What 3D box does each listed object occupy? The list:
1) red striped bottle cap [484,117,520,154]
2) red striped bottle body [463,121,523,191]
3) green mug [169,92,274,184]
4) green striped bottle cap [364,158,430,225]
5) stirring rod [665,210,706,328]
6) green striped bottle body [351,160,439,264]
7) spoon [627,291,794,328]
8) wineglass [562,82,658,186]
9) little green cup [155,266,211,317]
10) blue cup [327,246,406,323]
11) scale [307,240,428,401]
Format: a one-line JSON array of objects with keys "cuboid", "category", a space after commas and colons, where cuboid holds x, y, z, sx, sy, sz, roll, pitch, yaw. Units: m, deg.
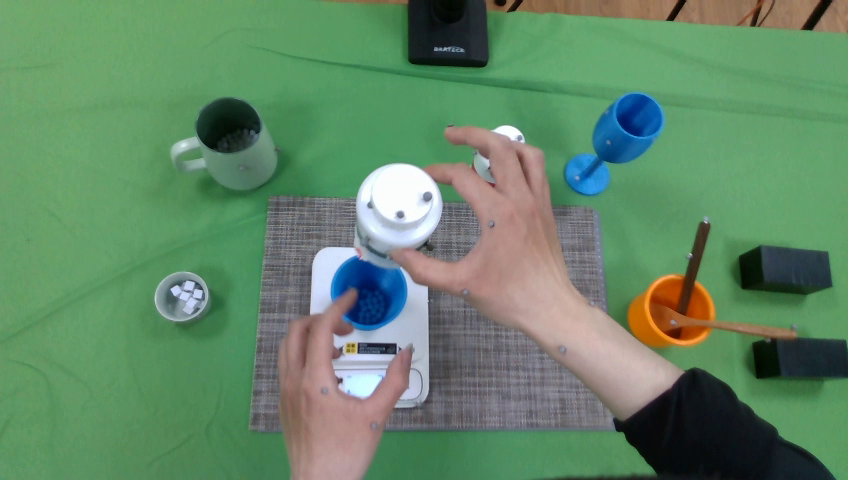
[{"cuboid": [0.097, -0.130, 0.749, 0.044, 0.018, 0.044, 2, 70, -5], "category": "red striped bottle cap"}, {"cuboid": [0.091, -0.114, 0.800, 0.063, 0.120, 0.062, 2, 73, -6], "category": "red striped bottle body"}, {"cuboid": [-0.259, -0.123, 0.771, 0.125, 0.105, 0.092, -20, 77, -11], "category": "green mug"}, {"cuboid": [-0.019, -0.034, 0.416, 0.044, 0.020, 0.044, 2, 78, -8], "category": "green striped bottle cap"}, {"cuboid": [0.329, 0.041, 0.767, 0.014, 0.177, 0.006, 5, 32, 8], "category": "stirring rod"}, {"cuboid": [-0.024, -0.021, 0.467, 0.063, 0.119, 0.063, 2, 78, -8], "category": "green striped bottle body"}, {"cuboid": [0.349, 0.092, 0.754, 0.022, 0.192, 0.041, 27, 73, -44], "category": "spoon"}, {"cuboid": [0.238, -0.133, 0.794, 0.074, 0.173, 0.073, 2, 73, -5], "category": "wineglass"}, {"cuboid": [-0.293, 0.066, 0.745, 0.062, 0.039, 0.061, 2, 73, -7], "category": "little green cup"}, {"cuboid": [-0.068, 0.059, 0.704, 0.093, 0.100, 0.092, 2, 75, -8], "category": "blue cup"}, {"cuboid": [-0.070, 0.098, 0.761, 0.149, 0.031, 0.199, 0, 74, -6], "category": "scale"}]
